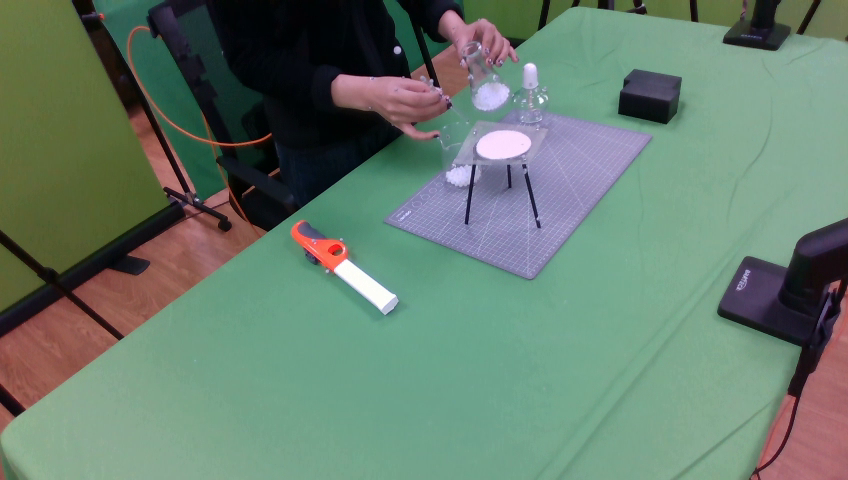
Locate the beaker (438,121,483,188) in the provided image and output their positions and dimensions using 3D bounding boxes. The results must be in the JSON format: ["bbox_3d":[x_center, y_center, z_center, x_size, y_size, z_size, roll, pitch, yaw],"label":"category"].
[{"bbox_3d":[0.066,-0.149,1.084,0.073,0.101,0.084,20,49,31],"label":"beaker"}]

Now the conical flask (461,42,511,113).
[{"bbox_3d":[0.102,-0.290,1.067,0.075,0.123,0.075,-14,54,20],"label":"conical flask"}]

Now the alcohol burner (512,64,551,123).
[{"bbox_3d":[0.215,-0.298,1.220,0.078,0.120,0.077,-7,40,7],"label":"alcohol burner"}]

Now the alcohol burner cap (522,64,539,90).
[{"bbox_3d":[0.210,-0.325,1.195,0.034,0.048,0.033,-6,46,7],"label":"alcohol burner cap"}]

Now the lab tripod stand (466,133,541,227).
[{"bbox_3d":[0.129,-0.099,0.985,0.148,0.132,0.147,-6,38,6],"label":"lab tripod stand"}]

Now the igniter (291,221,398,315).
[{"bbox_3d":[-0.136,0.037,0.962,0.057,0.025,0.274,-41,48,-18],"label":"igniter"}]

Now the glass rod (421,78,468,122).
[{"bbox_3d":[0.037,-0.226,0.986,0.008,0.201,0.008,-3,82,23],"label":"glass rod"}]

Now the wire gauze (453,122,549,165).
[{"bbox_3d":[0.121,-0.150,0.942,0.121,0.011,0.125,8,42,21],"label":"wire gauze"}]
